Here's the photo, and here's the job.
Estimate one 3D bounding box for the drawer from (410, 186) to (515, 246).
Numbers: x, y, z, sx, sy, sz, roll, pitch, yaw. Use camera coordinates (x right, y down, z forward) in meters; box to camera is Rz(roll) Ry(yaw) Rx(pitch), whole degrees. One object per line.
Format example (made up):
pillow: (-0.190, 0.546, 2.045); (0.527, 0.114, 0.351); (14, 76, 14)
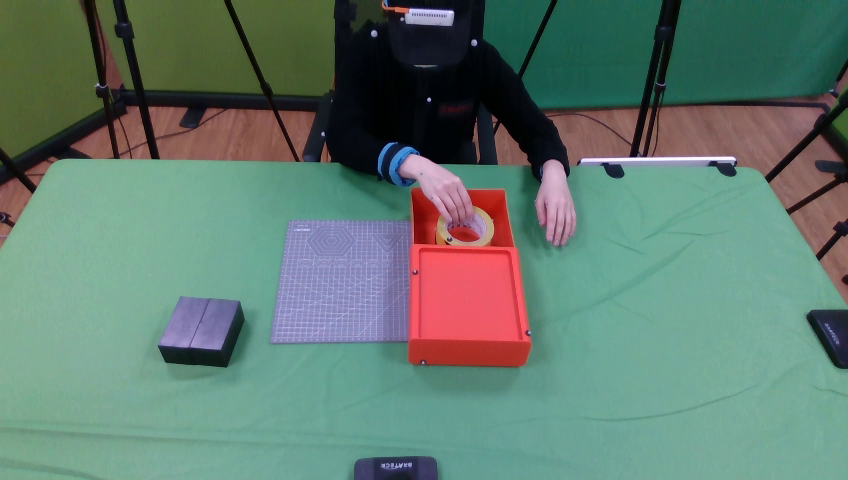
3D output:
drawer: (0.071, -0.011, 1.172); (0.195, 0.073, 0.210); (2, 45, -4)

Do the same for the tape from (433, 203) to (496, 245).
tape: (0.076, -0.013, 1.167); (0.117, 0.053, 0.116); (4, 53, -5)

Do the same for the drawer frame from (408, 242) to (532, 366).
drawer frame: (0.073, 0.107, 1.053); (0.202, 0.083, 0.212); (2, 47, -3)
